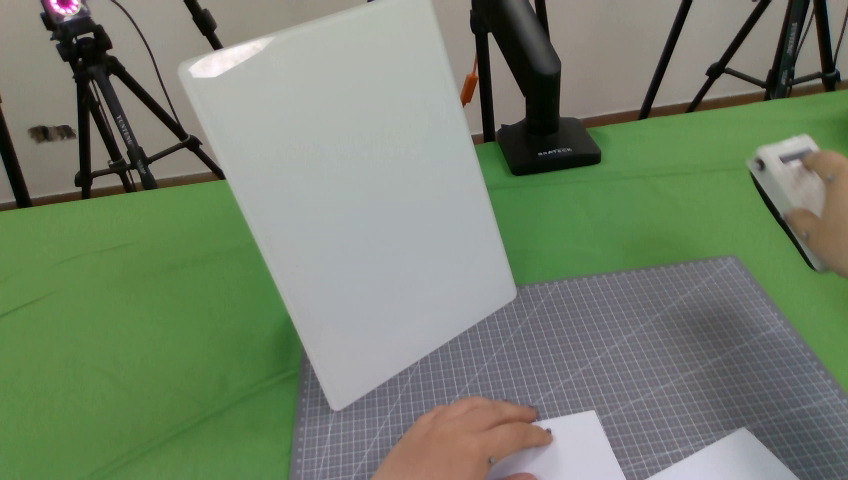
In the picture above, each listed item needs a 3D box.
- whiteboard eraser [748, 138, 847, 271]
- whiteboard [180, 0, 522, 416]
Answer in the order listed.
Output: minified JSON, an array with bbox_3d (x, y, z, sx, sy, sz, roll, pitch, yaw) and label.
[{"bbox_3d":[0.325,-0.030,0.506,0.055,0.042,0.111,-17,63,-3],"label":"whiteboard eraser"},{"bbox_3d":[-0.068,-0.041,0.566,0.217,0.307,0.142,-28,22,-24],"label":"whiteboard"}]
